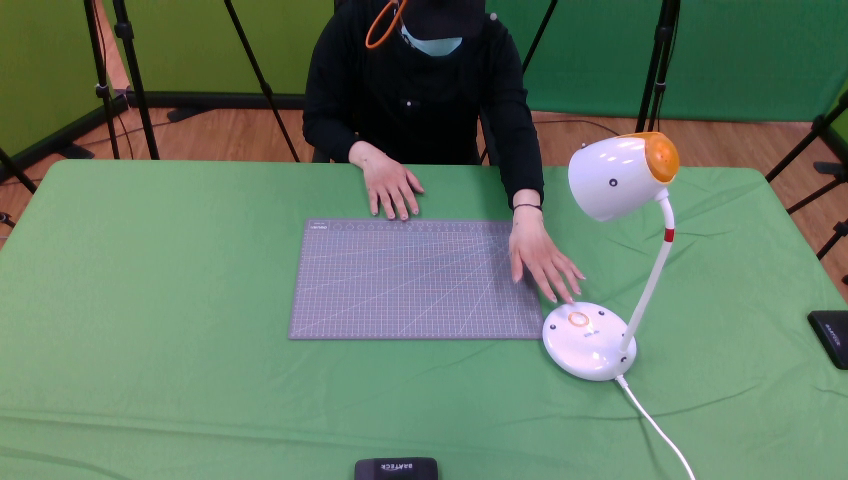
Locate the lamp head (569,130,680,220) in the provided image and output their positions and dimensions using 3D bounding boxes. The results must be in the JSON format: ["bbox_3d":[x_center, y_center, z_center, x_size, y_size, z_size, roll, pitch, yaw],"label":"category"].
[{"bbox_3d":[0.272,-0.090,0.799,0.113,0.122,0.112,7,78,-33],"label":"lamp head"}]

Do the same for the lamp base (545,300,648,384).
[{"bbox_3d":[0.299,0.124,0.984,0.161,0.181,0.178,-23,55,-23],"label":"lamp base"}]
